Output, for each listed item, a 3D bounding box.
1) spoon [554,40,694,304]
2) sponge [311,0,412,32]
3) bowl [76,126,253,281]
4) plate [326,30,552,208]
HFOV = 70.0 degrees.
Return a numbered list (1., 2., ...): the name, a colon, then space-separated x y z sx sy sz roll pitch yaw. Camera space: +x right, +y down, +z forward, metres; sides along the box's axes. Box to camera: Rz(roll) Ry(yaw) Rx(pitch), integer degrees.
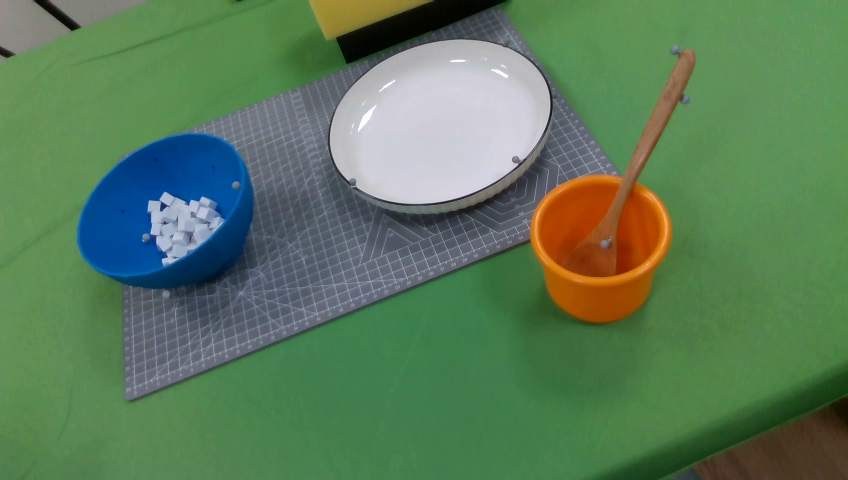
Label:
1. spoon: 0.140 -0.041 0.420 0.041 0.194 0.022 32 26 30
2. sponge: -0.028 -0.307 0.629 0.207 0.061 0.117 -21 55 0
3. bowl: -0.211 -0.019 0.534 0.151 0.077 0.150 -7 56 11
4. plate: 0.013 -0.111 0.561 0.209 0.038 0.207 -6 57 10
